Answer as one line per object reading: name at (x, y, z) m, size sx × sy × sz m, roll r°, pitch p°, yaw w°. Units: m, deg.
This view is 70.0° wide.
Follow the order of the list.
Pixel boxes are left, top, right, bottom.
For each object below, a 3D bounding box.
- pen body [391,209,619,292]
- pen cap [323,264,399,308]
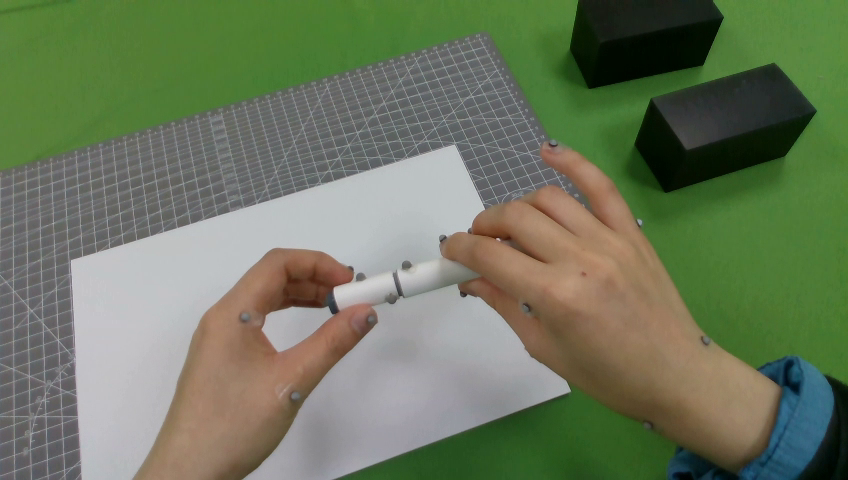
pen body at (0.030, 0.009, 0.315) m, size 0.144 × 0.017 × 0.016 m, roll -14°, pitch 61°, yaw 0°
pen cap at (-0.032, 0.025, 0.313) m, size 0.038 × 0.017 × 0.017 m, roll -13°, pitch 61°, yaw -3°
